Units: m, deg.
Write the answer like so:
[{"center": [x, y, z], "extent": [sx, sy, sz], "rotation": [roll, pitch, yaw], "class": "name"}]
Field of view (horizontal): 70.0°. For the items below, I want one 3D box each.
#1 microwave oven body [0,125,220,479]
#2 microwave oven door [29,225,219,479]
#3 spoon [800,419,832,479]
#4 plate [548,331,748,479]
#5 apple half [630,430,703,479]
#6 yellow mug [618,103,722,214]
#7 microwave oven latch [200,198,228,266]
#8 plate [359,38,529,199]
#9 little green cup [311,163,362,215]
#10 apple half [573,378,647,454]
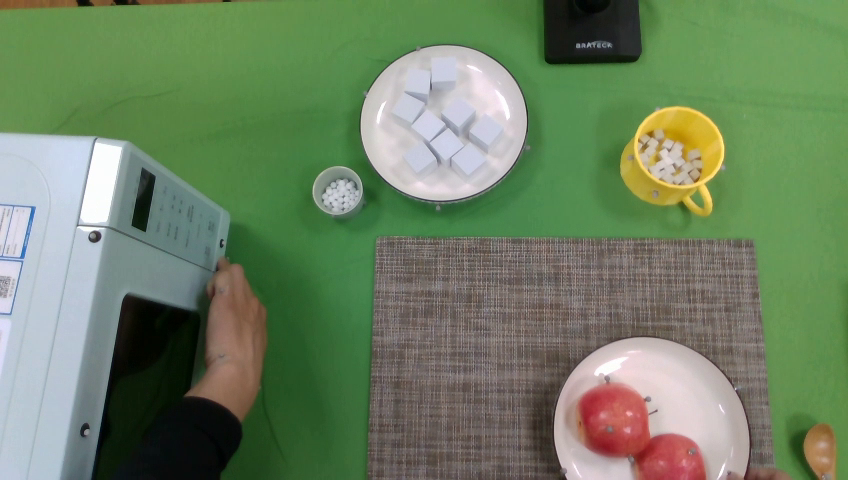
[{"center": [-0.423, 0.133, 0.606], "extent": [0.326, 0.261, 0.440], "rotation": [4, 79, 4], "class": "microwave oven body"}, {"center": [-0.282, 0.183, 0.581], "extent": [0.039, 0.245, 0.354], "rotation": [3, 78, 5], "class": "microwave oven door"}, {"center": [0.433, 0.289, 0.643], "extent": [0.042, 0.021, 0.193], "rotation": [-3, 77, -18], "class": "spoon"}, {"center": [0.239, 0.205, 0.662], "extent": [0.209, 0.038, 0.208], "rotation": [-1, 79, 4], "class": "plate"}, {"center": [0.262, 0.243, 0.646], "extent": [0.081, 0.033, 0.081], "rotation": [-1, 74, 5], "class": "apple half"}, {"center": [0.294, -0.088, 0.709], "extent": [0.100, 0.064, 0.130], "rotation": [-28, 79, -3], "class": "yellow mug"}, {"center": [-0.255, -0.010, 0.723], "extent": [0.030, 0.029, 0.079], "rotation": [6, 79, 5], "class": "microwave oven latch"}, {"center": [0.025, -0.148, 0.753], "extent": [0.207, 0.039, 0.206], "rotation": [-1, 78, 4], "class": "plate"}, {"center": [-0.104, -0.060, 0.742], "extent": [0.061, 0.039, 0.061], "rotation": [-1, 79, 4], "class": "little green cup"}, {"center": [0.201, 0.190, 0.652], "extent": [0.074, 0.053, 0.080], "rotation": [-3, 78, 6], "class": "apple half"}]
